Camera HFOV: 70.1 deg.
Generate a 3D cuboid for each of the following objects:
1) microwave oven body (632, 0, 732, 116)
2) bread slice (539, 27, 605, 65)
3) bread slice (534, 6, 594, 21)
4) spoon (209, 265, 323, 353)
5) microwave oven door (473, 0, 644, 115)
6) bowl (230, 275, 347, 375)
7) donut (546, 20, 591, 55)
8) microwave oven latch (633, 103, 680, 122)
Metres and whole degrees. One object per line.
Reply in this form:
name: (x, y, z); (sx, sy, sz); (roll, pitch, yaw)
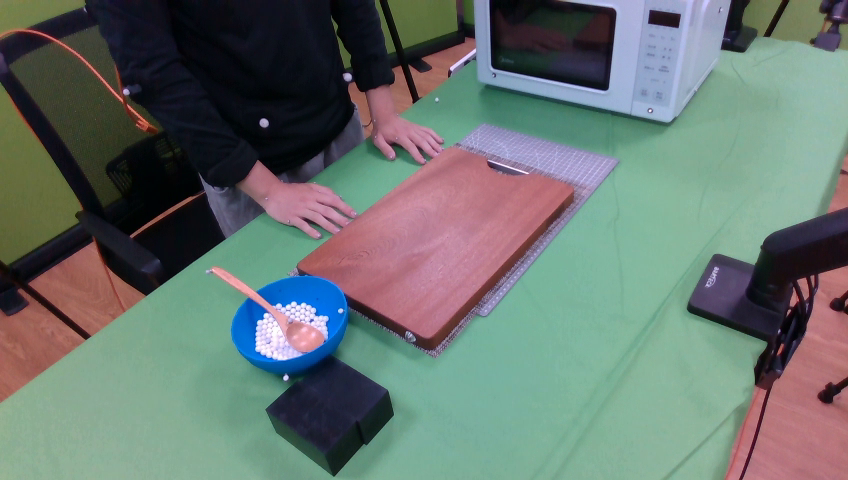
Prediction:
microwave oven body: (0.377, -0.462, 1.267); (0.438, 0.261, 0.327); (21, 48, 30)
bread slice: (0.332, -0.433, 1.339); (0.132, 0.019, 0.104); (-43, 44, -22)
bread slice: (0.301, -0.481, 1.278); (0.106, 0.018, 0.134); (9, 29, 22)
spoon: (-0.213, 0.087, 0.806); (0.193, 0.021, 0.042); (37, 57, 11)
microwave oven door: (0.257, -0.396, 1.199); (0.353, 0.245, 0.039); (21, 48, 29)
bowl: (-0.171, 0.125, 0.802); (0.151, 0.077, 0.150); (-4, 40, 4)
donut: (0.310, -0.436, 1.299); (0.099, 0.048, 0.098); (-21, 35, 16)
microwave oven latch: (0.443, -0.249, 1.157); (0.078, 0.029, 0.030); (20, 48, 30)
